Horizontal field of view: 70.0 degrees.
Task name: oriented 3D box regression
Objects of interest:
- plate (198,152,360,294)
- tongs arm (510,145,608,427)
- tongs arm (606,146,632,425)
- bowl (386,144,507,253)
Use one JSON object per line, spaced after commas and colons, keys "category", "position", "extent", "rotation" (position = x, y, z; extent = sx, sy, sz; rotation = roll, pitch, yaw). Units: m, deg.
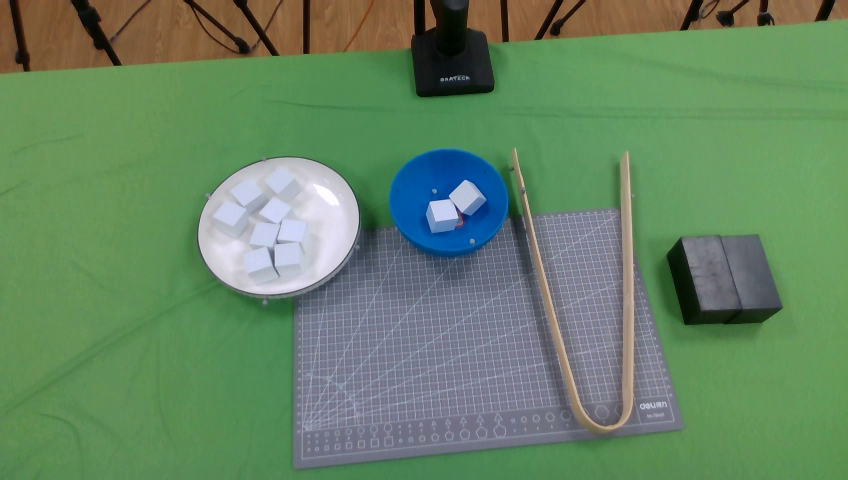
{"category": "plate", "position": [-0.186, -0.022, 0.796], "extent": [0.208, 0.039, 0.206], "rotation": [0, 63, 1]}
{"category": "tongs arm", "position": [0.165, 0.041, 0.770], "extent": [0.051, 0.027, 0.381], "rotation": [-3, 64, -7]}
{"category": "tongs arm", "position": [0.249, 0.042, 0.774], "extent": [0.028, 0.028, 0.384], "rotation": [11, 64, -3]}
{"category": "bowl", "position": [0.028, -0.040, 0.785], "extent": [0.151, 0.077, 0.150], "rotation": [1, 63, -1]}
